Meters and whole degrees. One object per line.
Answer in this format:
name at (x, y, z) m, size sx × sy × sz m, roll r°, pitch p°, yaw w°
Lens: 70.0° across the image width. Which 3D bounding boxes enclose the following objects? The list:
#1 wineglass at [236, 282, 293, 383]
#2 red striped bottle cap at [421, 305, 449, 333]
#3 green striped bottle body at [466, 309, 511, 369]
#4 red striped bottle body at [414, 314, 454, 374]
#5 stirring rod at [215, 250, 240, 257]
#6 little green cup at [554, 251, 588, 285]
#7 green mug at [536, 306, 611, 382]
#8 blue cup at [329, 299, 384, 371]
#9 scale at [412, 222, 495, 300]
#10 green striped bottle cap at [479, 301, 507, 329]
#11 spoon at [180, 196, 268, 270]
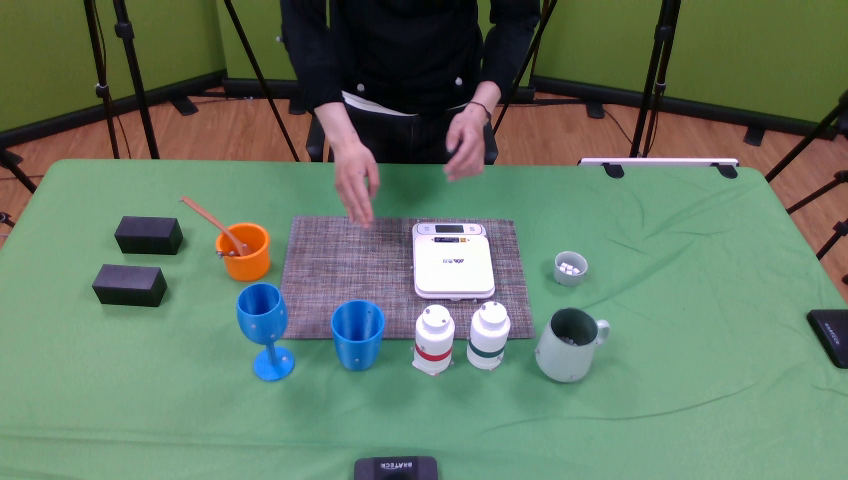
wineglass at (-0.243, 0.143, 0.934) m, size 0.074 × 0.173 × 0.073 m, roll 2°, pitch 46°, yaw -2°
red striped bottle cap at (0.018, 0.122, 0.938) m, size 0.044 × 0.018 × 0.044 m, roll 2°, pitch 44°, yaw -2°
green striped bottle body at (0.105, 0.154, 0.988) m, size 0.063 × 0.120 × 0.063 m, roll 2°, pitch 46°, yaw -2°
red striped bottle body at (0.016, 0.158, 0.977) m, size 0.063 × 0.120 × 0.062 m, roll 1°, pitch 46°, yaw -1°
stirring rod at (-0.339, 0.024, 1.059) m, size 0.014 × 0.176 × 0.006 m, roll 16°, pitch 86°, yaw -6°
little green cup at (0.277, 0.055, 1.151) m, size 0.061 × 0.039 × 0.061 m, roll 1°, pitch 46°, yaw -1°
green mug at (0.250, 0.167, 0.996) m, size 0.125 × 0.105 × 0.092 m, roll -15°, pitch 48°, yaw -19°
blue cup at (-0.109, 0.160, 0.979) m, size 0.093 × 0.101 × 0.092 m, roll 4°, pitch 45°, yaw -3°
scale at (0.052, 0.031, 1.158) m, size 0.149 × 0.032 × 0.199 m, roll 1°, pitch 46°, yaw -4°
green striped bottle cap at (0.109, 0.118, 0.950) m, size 0.044 × 0.020 × 0.044 m, roll 2°, pitch 47°, yaw -2°
spoon at (-0.360, -0.014, 1.094) m, size 0.021 × 0.194 × 0.041 m, roll -28°, pitch 26°, yaw 31°
